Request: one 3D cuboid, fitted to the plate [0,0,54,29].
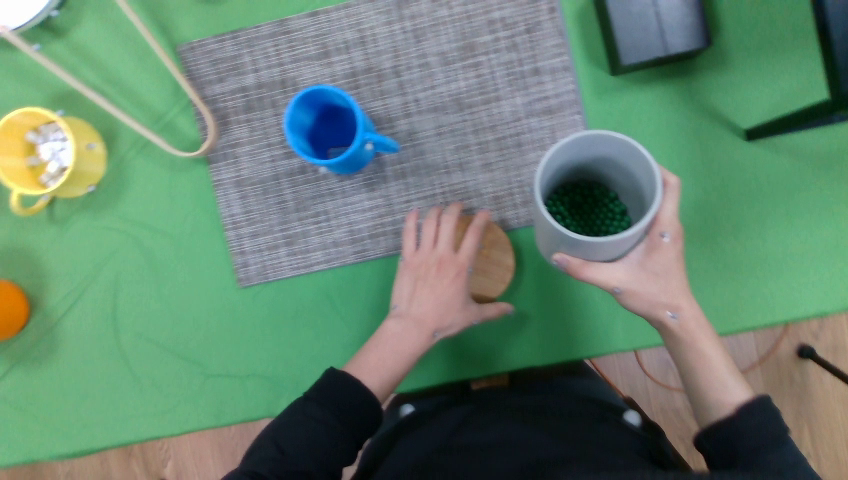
[{"bbox_3d":[-0.511,-0.352,0.717,0.207,0.039,0.207,0,93,2],"label":"plate"}]

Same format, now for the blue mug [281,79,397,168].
[{"bbox_3d":[-0.087,-0.122,0.673,0.116,0.106,0.082,13,92,2],"label":"blue mug"}]

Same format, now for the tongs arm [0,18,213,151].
[{"bbox_3d":[-0.418,-0.221,0.700,0.386,0.026,0.051,39,90,-7],"label":"tongs arm"}]

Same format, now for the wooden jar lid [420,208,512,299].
[{"bbox_3d":[0.050,0.016,0.717,0.108,0.020,0.108,0,96,4],"label":"wooden jar lid"}]

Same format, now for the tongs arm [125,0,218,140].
[{"bbox_3d":[-0.359,-0.282,0.698,0.028,0.027,0.388,-38,97,-5],"label":"tongs arm"}]

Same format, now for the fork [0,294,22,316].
[{"bbox_3d":[-0.579,0.080,0.683,0.208,0.018,0.028,-1,92,-41],"label":"fork"}]

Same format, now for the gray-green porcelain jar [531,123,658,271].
[{"bbox_3d":[0.154,-0.033,0.571,0.106,0.127,0.105,-3,70,8],"label":"gray-green porcelain jar"}]

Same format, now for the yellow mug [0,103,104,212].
[{"bbox_3d":[-0.449,-0.092,0.713,0.100,0.064,0.131,26,95,0],"label":"yellow mug"}]

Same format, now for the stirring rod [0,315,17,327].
[{"bbox_3d":[-0.567,0.096,0.687,0.006,0.177,0.014,-20,73,46],"label":"stirring rod"}]
